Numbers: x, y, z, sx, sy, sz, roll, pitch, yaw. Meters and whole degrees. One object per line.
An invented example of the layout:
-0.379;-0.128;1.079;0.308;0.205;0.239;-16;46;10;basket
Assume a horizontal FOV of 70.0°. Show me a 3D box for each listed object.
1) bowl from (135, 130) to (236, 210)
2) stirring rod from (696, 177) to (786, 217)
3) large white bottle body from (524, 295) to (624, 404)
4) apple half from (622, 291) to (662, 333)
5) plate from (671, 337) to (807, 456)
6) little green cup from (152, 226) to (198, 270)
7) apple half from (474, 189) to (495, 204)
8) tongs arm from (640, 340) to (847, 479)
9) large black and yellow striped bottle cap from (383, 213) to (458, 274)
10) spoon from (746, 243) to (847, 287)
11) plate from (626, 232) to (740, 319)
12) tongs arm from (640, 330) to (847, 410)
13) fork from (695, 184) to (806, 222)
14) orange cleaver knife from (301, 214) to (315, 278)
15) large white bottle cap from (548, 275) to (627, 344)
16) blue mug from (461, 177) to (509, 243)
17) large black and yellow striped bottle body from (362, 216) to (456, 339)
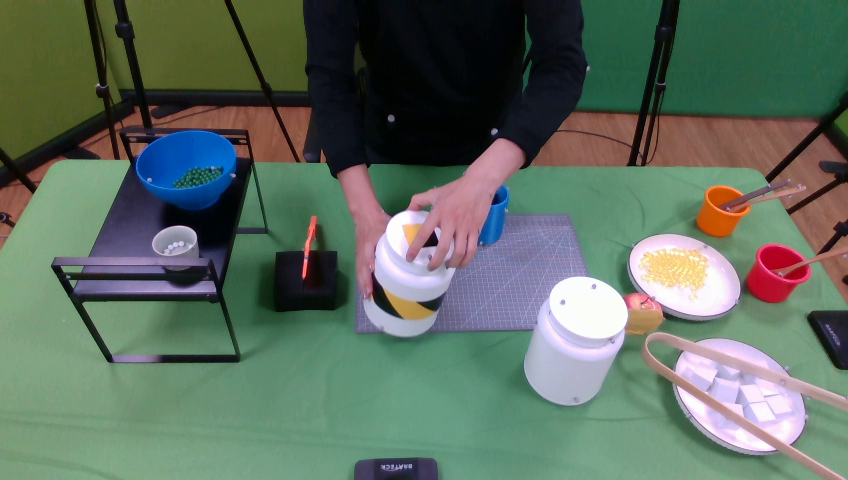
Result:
-0.375;-0.102;0.978;0.151;0.077;0.150;3;46;-2;bowl
0.648;-0.087;1.244;0.176;0.006;0.014;-25;50;29;stirring rod
0.235;0.158;0.952;0.131;0.185;0.130;2;47;-2;large white bottle body
0.372;0.124;1.073;0.081;0.075;0.053;0;42;1;apple half
0.504;0.254;0.984;0.208;0.039;0.206;2;46;-2;plate
-0.364;0.013;0.894;0.061;0.039;0.061;3;46;-3;little green cup
0.109;-0.067;1.200;0.032;0.081;0.081;28;50;11;apple half
0.500;0.277;0.919;0.386;0.028;0.028;34;59;22;tongs arm
-0.005;0.003;0.926;0.115;0.019;0.114;9;44;-9;large black and yellow striped bottle cap
0.702;0.044;1.126;0.194;0.022;0.041;-29;38;30;spoon
0.489;0.070;1.156;0.209;0.038;0.208;3;46;-3;plate
0.543;0.225;0.969;0.384;0.026;0.050;22;52;13;tongs arm
0.658;-0.074;1.229;0.207;0.019;0.028;-24;33;36;fork
-0.217;0.007;1.131;0.012;0.077;0.210;7;19;-9;orange cleaver knife
0.240;0.100;0.890;0.115;0.018;0.114;3;47;-3;large white bottle cap
0.114;-0.070;1.211;0.082;0.106;0.115;-12;48;-15;blue mug
-0.023;0.060;0.986;0.131;0.184;0.130;10;45;-10;large black and yellow striped bottle body
